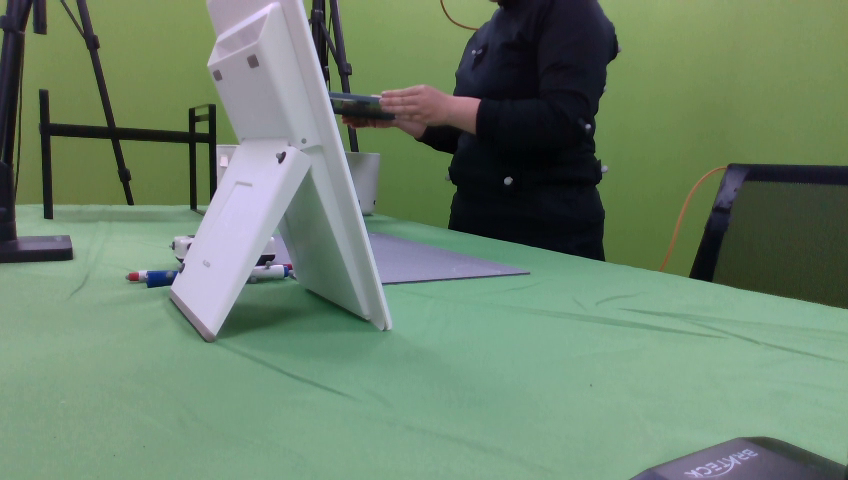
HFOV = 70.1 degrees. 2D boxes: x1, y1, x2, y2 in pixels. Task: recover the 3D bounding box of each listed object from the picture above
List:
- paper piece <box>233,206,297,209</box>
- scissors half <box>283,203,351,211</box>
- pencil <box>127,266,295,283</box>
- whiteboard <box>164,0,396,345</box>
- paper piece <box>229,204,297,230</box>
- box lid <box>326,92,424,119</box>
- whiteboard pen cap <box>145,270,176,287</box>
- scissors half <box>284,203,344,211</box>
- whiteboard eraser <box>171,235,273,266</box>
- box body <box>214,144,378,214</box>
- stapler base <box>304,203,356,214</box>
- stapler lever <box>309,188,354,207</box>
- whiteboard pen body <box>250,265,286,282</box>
[{"bbox_3d":[-0.388,-0.079,1.466,0.136,0.004,0.135,-2,7,-30],"label":"paper piece"},{"bbox_3d":[-0.269,-0.081,1.534,0.176,0.013,0.040,-6,10,-23],"label":"scissors half"},{"bbox_3d":[-0.231,0.037,0.690,0.195,0.012,0.012,-2,9,-34],"label":"pencil"},{"bbox_3d":[-0.173,-0.053,0.511,0.144,0.305,0.216,-23,19,-26],"label":"whiteboard"},{"bbox_3d":[-0.392,-0.059,1.468,0.139,0.008,0.135,-9,28,-26],"label":"paper piece"},{"bbox_3d":[-0.210,-0.294,1.308,0.373,0.015,0.262,2,5,-22],"label":"box lid"},{"bbox_3d":[-0.271,0.039,0.627,0.033,0.018,0.018,-3,9,-33],"label":"whiteboard pen cap"},{"bbox_3d":[-0.281,-0.083,1.552,0.176,0.013,0.040,-9,6,-44],"label":"scissors half"},{"bbox_3d":[-0.248,0.014,0.747,0.113,0.042,0.055,-1,9,-32],"label":"whiteboard eraser"},{"bbox_3d":[-0.328,-0.154,1.543,0.366,0.160,0.253,-2,9,-32],"label":"box body"},{"bbox_3d":[-0.235,-0.081,1.510,0.131,0.024,0.041,2,9,-35],"label":"stapler base"},{"bbox_3d":[-0.231,-0.106,1.509,0.119,0.040,0.026,3,9,-35],"label":"stapler lever"},{"bbox_3d":[-0.220,0.039,0.656,0.141,0.017,0.017,-2,9,-30],"label":"whiteboard pen body"}]
